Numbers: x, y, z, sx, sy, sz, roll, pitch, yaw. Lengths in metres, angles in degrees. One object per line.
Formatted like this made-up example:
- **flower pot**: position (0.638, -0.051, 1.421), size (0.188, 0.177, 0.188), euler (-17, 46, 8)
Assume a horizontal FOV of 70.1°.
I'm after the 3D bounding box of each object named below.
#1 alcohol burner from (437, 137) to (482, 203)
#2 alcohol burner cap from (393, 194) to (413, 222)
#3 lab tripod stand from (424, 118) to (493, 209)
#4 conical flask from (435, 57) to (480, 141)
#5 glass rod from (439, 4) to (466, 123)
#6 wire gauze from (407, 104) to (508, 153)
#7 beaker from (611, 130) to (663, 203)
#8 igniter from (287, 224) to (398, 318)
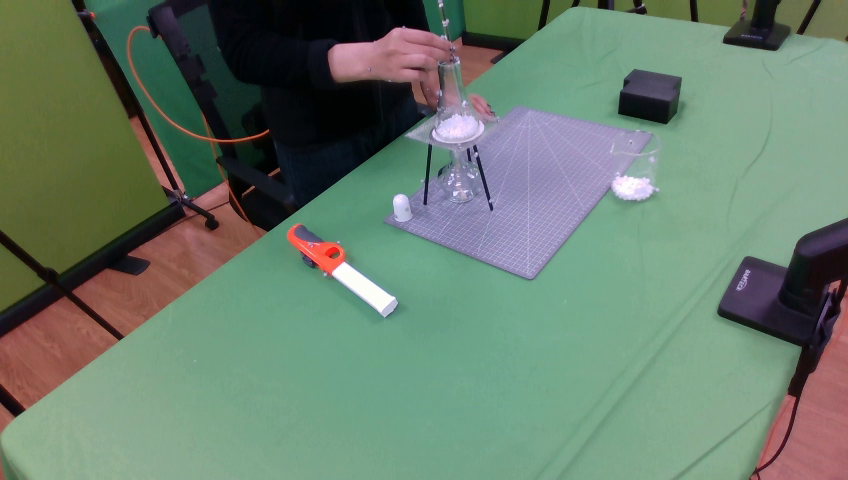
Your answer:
- **alcohol burner**: position (0.060, -0.125, 1.045), size (0.078, 0.119, 0.077), euler (-5, 38, 4)
- **alcohol burner cap**: position (-0.039, -0.056, 1.039), size (0.034, 0.048, 0.033), euler (-6, 40, 5)
- **lab tripod stand**: position (0.061, -0.133, 1.039), size (0.148, 0.132, 0.147), euler (-6, 38, 6)
- **conical flask**: position (0.046, -0.225, 0.955), size (0.075, 0.122, 0.075), euler (-7, 39, 6)
- **glass rod**: position (0.045, -0.263, 0.923), size (0.008, 0.201, 0.008), euler (-9, 44, 9)
- **wire gauze**: position (0.054, -0.183, 0.997), size (0.120, 0.011, 0.125), euler (25, 53, 38)
- **beaker**: position (0.346, -0.118, 0.998), size (0.084, 0.101, 0.073), euler (-17, 40, -7)
- **igniter**: position (-0.139, 0.042, 0.958), size (0.057, 0.025, 0.274), euler (-42, 49, -19)
